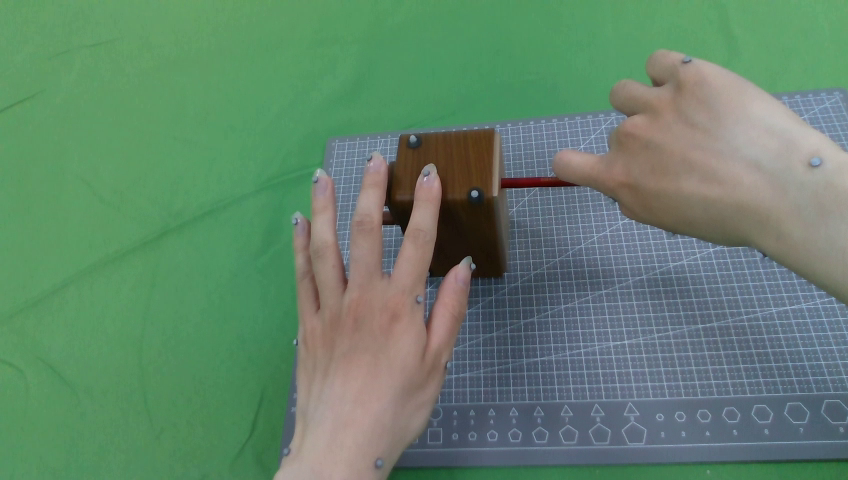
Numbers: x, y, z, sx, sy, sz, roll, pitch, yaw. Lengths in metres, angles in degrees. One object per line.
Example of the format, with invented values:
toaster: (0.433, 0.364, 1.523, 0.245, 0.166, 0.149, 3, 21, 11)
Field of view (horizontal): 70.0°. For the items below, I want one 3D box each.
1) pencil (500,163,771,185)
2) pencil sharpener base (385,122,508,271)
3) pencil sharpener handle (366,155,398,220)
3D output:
pencil: (0.123, -0.042, 0.396, 0.194, 0.012, 0.012, -1, 58, 9)
pencil sharpener base: (0.019, -0.027, 0.437, 0.076, 0.108, 0.061, -1, 58, 11)
pencil sharpener handle: (-0.033, -0.033, 0.437, 0.030, 0.068, 0.035, -1, 62, 11)
